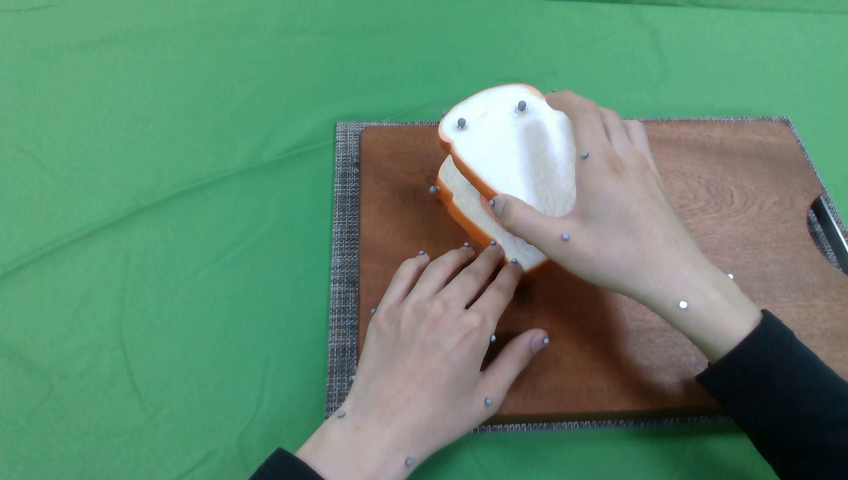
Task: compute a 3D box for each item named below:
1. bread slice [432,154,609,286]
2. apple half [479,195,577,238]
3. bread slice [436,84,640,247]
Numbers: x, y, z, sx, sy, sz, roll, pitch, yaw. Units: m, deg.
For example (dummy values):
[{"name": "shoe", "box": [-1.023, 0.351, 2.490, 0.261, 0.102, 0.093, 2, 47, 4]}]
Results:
[{"name": "bread slice", "box": [0.070, -0.035, 0.494, 0.105, 0.019, 0.130, -32, 64, -23]}, {"name": "apple half", "box": [0.083, -0.040, 0.470, 0.081, 0.033, 0.080, 2, 55, -3]}, {"name": "bread slice", "box": [0.074, -0.063, 0.452, 0.107, 0.018, 0.133, -36, 65, -23]}]
